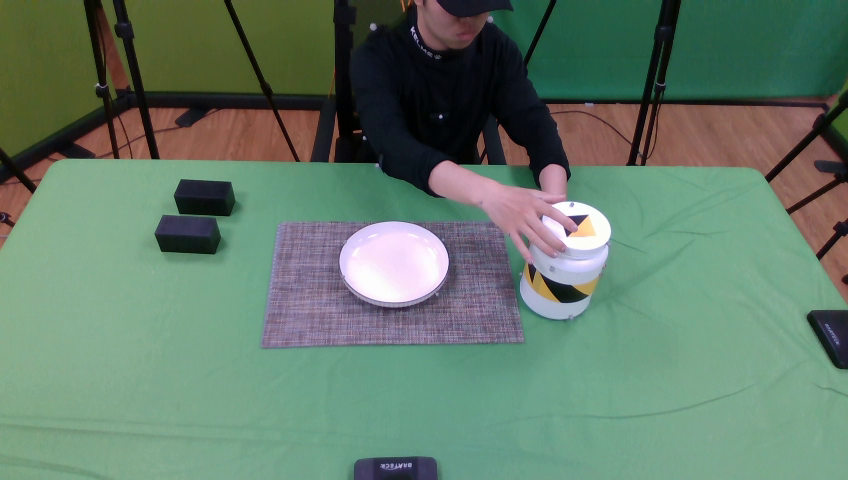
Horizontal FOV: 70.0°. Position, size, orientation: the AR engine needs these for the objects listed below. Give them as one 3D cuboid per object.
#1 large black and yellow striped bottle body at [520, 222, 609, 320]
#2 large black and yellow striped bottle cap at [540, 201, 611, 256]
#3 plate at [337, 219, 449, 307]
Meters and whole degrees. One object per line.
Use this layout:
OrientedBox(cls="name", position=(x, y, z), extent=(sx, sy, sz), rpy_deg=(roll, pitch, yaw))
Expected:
OrientedBox(cls="large black and yellow striped bottle body", position=(0.247, 0.038, 1.065), extent=(0.131, 0.185, 0.130), rpy_deg=(2, 46, -2))
OrientedBox(cls="large black and yellow striped bottle cap", position=(0.251, -0.021, 1.004), extent=(0.115, 0.019, 0.114), rpy_deg=(3, 47, -3))
OrientedBox(cls="plate", position=(-0.057, 0.045, 1.132), extent=(0.208, 0.039, 0.206), rpy_deg=(2, 46, -2))
